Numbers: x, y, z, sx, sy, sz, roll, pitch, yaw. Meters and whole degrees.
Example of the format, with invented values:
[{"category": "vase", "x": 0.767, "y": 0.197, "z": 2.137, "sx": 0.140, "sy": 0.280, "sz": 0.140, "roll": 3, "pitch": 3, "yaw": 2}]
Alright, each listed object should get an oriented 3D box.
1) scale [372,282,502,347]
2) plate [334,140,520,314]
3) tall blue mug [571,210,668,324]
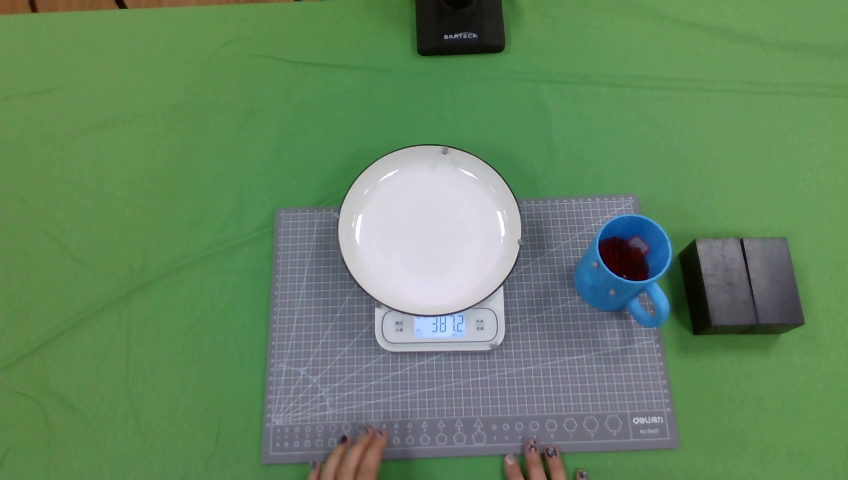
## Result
[{"category": "scale", "x": 0.014, "y": 0.024, "z": 0.710, "sx": 0.149, "sy": 0.032, "sz": 0.199, "roll": -1, "pitch": 71, "yaw": 1}, {"category": "plate", "x": 0.004, "y": -0.014, "z": 0.688, "sx": 0.209, "sy": 0.038, "sz": 0.207, "roll": 0, "pitch": 71, "yaw": 0}, {"category": "tall blue mug", "x": 0.223, "y": 0.031, "z": 0.663, "sx": 0.107, "sy": 0.108, "sz": 0.077, "roll": 33, "pitch": 73, "yaw": 12}]
